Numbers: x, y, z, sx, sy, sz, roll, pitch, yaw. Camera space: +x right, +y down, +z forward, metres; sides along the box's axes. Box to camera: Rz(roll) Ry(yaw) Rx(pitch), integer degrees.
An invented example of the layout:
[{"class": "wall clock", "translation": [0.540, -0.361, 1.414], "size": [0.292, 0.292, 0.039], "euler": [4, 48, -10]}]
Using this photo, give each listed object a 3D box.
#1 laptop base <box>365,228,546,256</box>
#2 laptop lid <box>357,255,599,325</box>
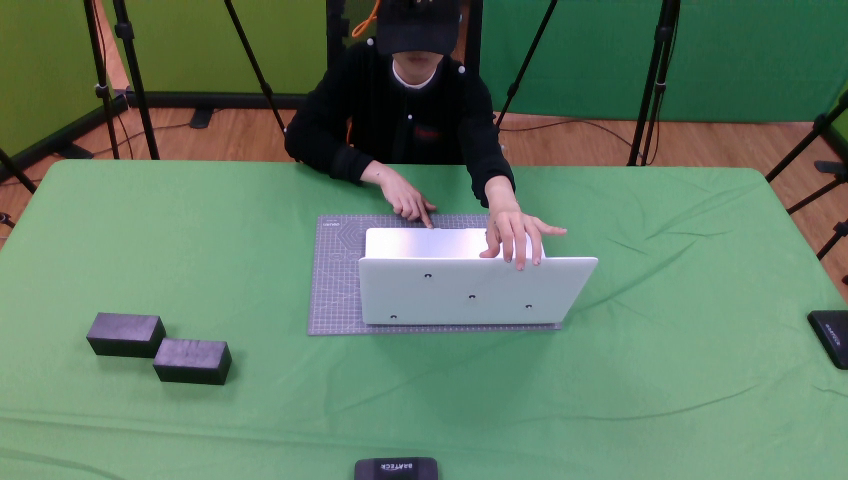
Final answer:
[{"class": "laptop base", "translation": [0.064, 0.063, 1.142], "size": [0.355, 0.023, 0.234], "euler": [0, 42, -4]}, {"class": "laptop lid", "translation": [0.075, 0.085, 0.959], "size": [0.357, 0.242, 0.013], "euler": [1, 58, -5]}]
